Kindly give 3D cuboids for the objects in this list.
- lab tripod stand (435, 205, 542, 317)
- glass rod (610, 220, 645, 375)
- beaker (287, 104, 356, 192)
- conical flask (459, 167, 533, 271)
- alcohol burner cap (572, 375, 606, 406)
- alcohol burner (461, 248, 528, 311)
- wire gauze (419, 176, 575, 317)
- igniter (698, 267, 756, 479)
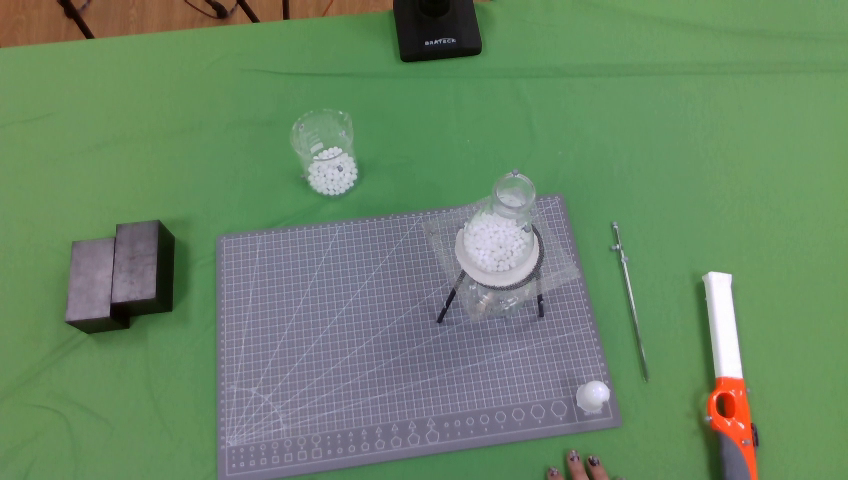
[{"bbox_3d":[0.075,0.032,0.684,0.148,0.132,0.147,0,69,0],"label":"lab tripod stand"},{"bbox_3d":[0.248,0.066,0.743,0.008,0.008,0.198,-3,67,-2],"label":"glass rod"},{"bbox_3d":[-0.123,-0.113,0.763,0.073,0.101,0.084,39,72,14],"label":"beaker"},{"bbox_3d":[0.074,-0.023,0.571,0.075,0.122,0.075,0,69,-1],"label":"conical flask"},{"bbox_3d":[0.188,0.166,0.679,0.034,0.048,0.033,1,68,-1],"label":"alcohol burner cap"},{"bbox_3d":[0.083,0.039,0.692,0.078,0.120,0.077,1,67,-2],"label":"alcohol burner"},{"bbox_3d":[0.074,0.005,0.624,0.125,0.011,0.120,-22,72,-11],"label":"wire gauze"},{"bbox_3d":[0.344,0.163,0.694,0.057,0.025,0.274,8,67,-8],"label":"igniter"}]
